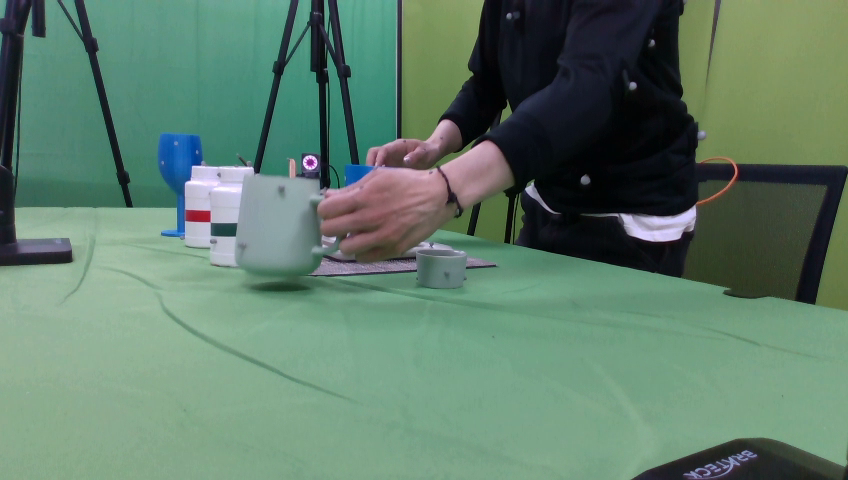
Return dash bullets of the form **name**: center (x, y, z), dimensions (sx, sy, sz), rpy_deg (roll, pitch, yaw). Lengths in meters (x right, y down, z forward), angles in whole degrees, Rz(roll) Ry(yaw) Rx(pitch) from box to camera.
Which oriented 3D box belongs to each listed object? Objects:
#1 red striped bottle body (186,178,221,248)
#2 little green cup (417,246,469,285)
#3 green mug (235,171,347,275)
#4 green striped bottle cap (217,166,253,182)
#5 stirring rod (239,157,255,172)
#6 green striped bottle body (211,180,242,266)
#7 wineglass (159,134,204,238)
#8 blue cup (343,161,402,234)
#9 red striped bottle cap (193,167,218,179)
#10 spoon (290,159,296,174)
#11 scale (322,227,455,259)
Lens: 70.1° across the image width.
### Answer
- **red striped bottle body**: center (-0.331, -0.050, 0.927), dimensions (0.063, 0.119, 0.063), rpy_deg (2, 6, 0)
- **little green cup**: center (0.021, 0.029, 0.701), dimensions (0.061, 0.038, 0.061), rpy_deg (2, 6, 0)
- **green mug**: center (-0.139, -0.018, 0.645), dimensions (0.125, 0.105, 0.093), rpy_deg (5, 5, 20)
- **green striped bottle cap**: center (-0.242, -0.085, 0.777), dimensions (0.044, 0.020, 0.044), rpy_deg (2, 8, 0)
- **stirring rod**: center (-0.309, -0.098, 1.209), dimensions (0.006, 0.177, 0.014), rpy_deg (-39, 29, -4)
- **green striped bottle body**: center (-0.243, -0.030, 0.784), dimensions (0.063, 0.119, 0.063), rpy_deg (2, 7, 0)
- **wineglass**: center (-0.415, -0.093, 1.039), dimensions (0.074, 0.172, 0.073), rpy_deg (2, 7, 0)
- **blue cup**: center (-0.078, -0.062, 0.884), dimensions (0.093, 0.100, 0.092), rpy_deg (4, 6, 0)
- **red striped bottle cap**: center (-0.329, -0.103, 0.921), dimensions (0.044, 0.017, 0.044), rpy_deg (-1, 9, 0)
- **spoon**: center (-0.273, -0.102, 1.252), dimensions (0.042, 0.193, 0.021), rpy_deg (7, -38, -17)
- **scale**: center (-0.067, 0.001, 0.906), dimensions (0.202, 0.031, 0.148), rpy_deg (-2, 8, -31)
